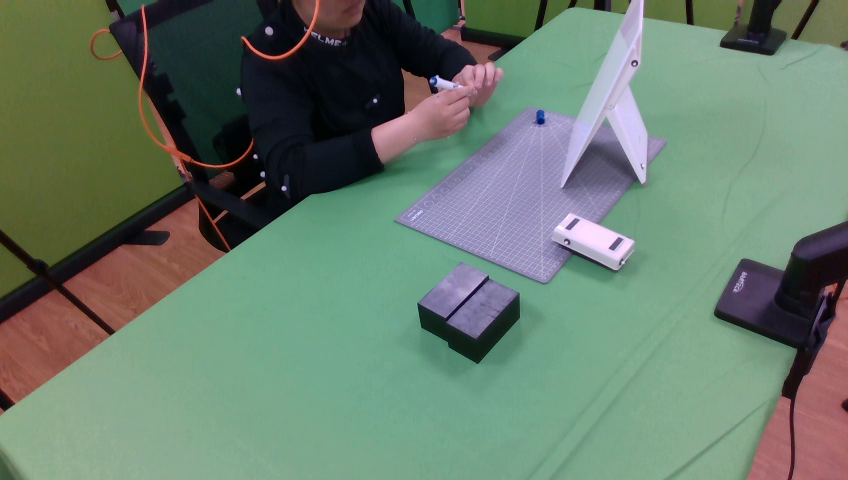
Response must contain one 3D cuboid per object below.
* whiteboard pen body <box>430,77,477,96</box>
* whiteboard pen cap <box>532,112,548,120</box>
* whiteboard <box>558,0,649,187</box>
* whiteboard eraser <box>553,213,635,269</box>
[{"bbox_3d":[0.058,-0.279,1.109,0.017,0.017,0.142,28,18,35],"label":"whiteboard pen body"},{"bbox_3d":[0.238,-0.254,1.238,0.018,0.018,0.033,-28,27,-23],"label":"whiteboard pen cap"},{"bbox_3d":[0.361,-0.238,1.026,0.144,0.306,0.217,21,45,4],"label":"whiteboard"},{"bbox_3d":[0.257,0.003,0.918,0.112,0.042,0.056,27,49,30],"label":"whiteboard eraser"}]
